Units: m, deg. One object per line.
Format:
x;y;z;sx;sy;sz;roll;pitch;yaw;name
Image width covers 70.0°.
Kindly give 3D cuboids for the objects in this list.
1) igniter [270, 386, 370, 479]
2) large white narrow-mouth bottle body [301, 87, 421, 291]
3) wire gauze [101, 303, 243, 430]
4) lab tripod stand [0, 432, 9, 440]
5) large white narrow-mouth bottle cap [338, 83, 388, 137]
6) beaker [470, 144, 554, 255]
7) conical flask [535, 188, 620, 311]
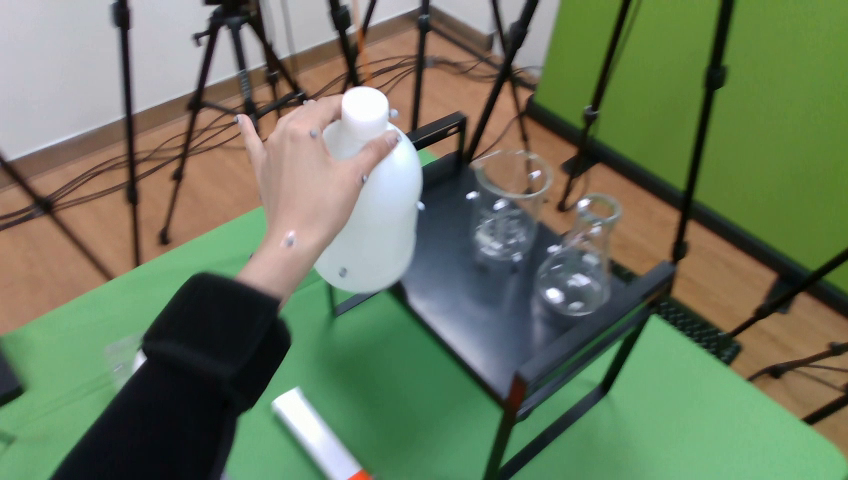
-0.076;0.260;0.642;0.057;0.025;0.274;-25;54;-38;igniter
-0.054;-0.045;0.520;0.102;0.196;0.101;4;53;-4;large white narrow-mouth bottle body
-0.285;0.135;0.685;0.121;0.011;0.124;-27;55;-26;wire gauze
-0.462;0.224;0.568;0.148;0.132;0.147;4;47;-4;lab tripod stand
-0.046;-0.097;0.453;0.038;0.024;0.037;4;53;-5;large white narrow-mouth bottle cap
0.086;-0.040;0.639;0.083;0.101;0.074;25;50;18;beaker
0.154;0.007;0.587;0.075;0.123;0.074;3;47;-2;conical flask
